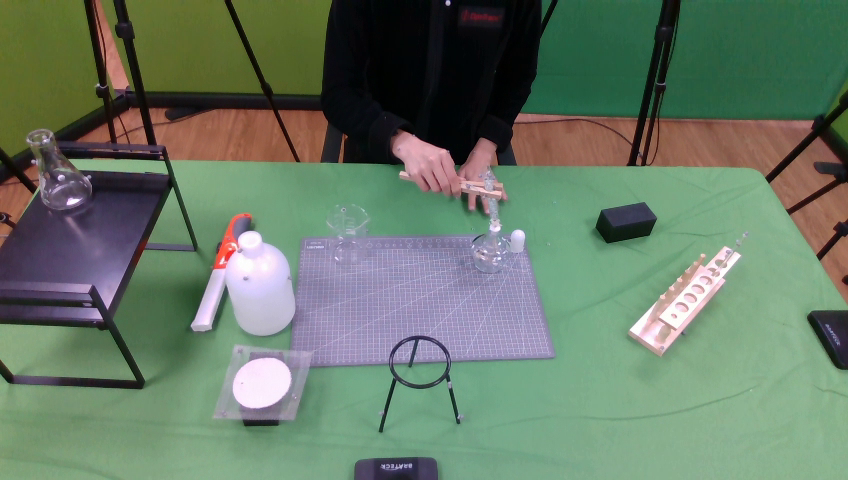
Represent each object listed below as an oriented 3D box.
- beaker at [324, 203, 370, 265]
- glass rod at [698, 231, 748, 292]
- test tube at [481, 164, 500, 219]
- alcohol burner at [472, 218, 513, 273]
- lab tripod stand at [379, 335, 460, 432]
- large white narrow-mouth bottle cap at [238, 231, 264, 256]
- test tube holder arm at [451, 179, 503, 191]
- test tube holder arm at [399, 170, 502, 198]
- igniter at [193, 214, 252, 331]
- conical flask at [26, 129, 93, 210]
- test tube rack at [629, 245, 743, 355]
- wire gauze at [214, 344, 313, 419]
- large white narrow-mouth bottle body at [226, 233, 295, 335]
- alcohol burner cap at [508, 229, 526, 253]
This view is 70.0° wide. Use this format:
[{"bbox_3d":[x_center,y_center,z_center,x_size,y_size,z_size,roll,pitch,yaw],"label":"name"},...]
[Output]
[{"bbox_3d":[-0.142,-0.009,1.137,0.084,0.101,0.073,-3,47,-7],"label":"beaker"},{"bbox_3d":[0.514,0.044,1.051,0.008,0.200,0.008,1,55,-1],"label":"glass rod"},{"bbox_3d":[0.113,-0.078,1.018,0.017,0.151,0.017,-6,59,10],"label":"test tube"},{"bbox_3d":[0.128,0.005,1.132,0.078,0.120,0.077,0,47,0],"label":"alcohol burner"},{"bbox_3d":[-0.010,0.214,0.912,0.148,0.132,0.147,1,45,0],"label":"lab tripod stand"},{"bbox_3d":[-0.266,0.006,0.932,0.038,0.024,0.037,2,46,-2],"label":"large white narrow-mouth bottle cap"},{"bbox_3d":[0.088,-0.092,1.012,0.088,0.015,0.010,5,60,8],"label":"test tube holder arm"},{"bbox_3d":[0.043,-0.095,1.018,0.178,0.015,0.013,11,61,12],"label":"test tube holder arm"},{"bbox_3d":[-0.368,0.050,1.119,0.057,0.025,0.275,-3,46,8],"label":"igniter"},{"bbox_3d":[-0.575,-0.113,0.946,0.075,0.122,0.075,2,46,-2],"label":"conical flask"},{"bbox_3d":[0.474,0.095,1.091,0.242,0.085,0.066,-34,56,-31],"label":"test tube rack"},{"bbox_3d":[-0.241,0.213,0.915,0.121,0.011,0.124,5,46,1],"label":"wire gauze"},{"bbox_3d":[-0.270,0.065,0.995,0.102,0.195,0.101,2,46,-2],"label":"large white narrow-mouth bottle body"},{"bbox_3d":[0.185,-0.002,1.192,0.034,0.048,0.033,3,45,-2],"label":"alcohol burner cap"}]
